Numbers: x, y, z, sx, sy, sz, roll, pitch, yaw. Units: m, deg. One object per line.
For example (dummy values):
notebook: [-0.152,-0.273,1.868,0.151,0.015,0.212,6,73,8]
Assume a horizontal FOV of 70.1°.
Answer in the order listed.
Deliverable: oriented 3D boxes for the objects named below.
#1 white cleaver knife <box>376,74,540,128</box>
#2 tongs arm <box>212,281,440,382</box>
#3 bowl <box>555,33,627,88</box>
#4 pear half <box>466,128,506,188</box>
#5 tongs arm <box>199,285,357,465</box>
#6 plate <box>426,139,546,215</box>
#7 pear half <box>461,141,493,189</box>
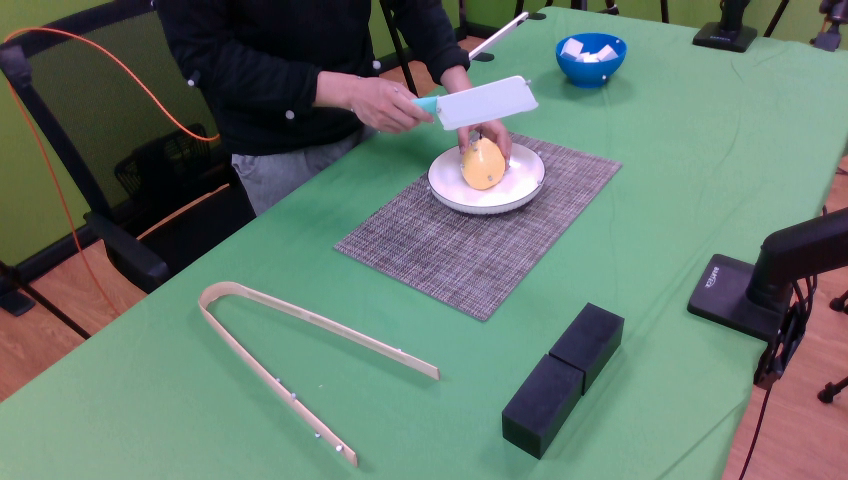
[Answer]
white cleaver knife: [0.039,-0.199,0.930,0.284,0.066,0.021,-3,41,36]
tongs arm: [-0.148,0.121,0.846,0.385,0.028,0.028,17,48,25]
bowl: [0.360,-0.384,1.318,0.151,0.077,0.150,-4,41,4]
pear half: [0.108,-0.149,1.039,0.076,0.110,0.056,31,54,31]
tongs arm: [-0.199,0.162,0.797,0.381,0.026,0.051,28,50,35]
plate: [0.109,-0.107,1.059,0.207,0.039,0.206,-4,41,4]
pear half: [0.084,-0.124,1.027,0.070,0.088,0.031,29,50,31]
